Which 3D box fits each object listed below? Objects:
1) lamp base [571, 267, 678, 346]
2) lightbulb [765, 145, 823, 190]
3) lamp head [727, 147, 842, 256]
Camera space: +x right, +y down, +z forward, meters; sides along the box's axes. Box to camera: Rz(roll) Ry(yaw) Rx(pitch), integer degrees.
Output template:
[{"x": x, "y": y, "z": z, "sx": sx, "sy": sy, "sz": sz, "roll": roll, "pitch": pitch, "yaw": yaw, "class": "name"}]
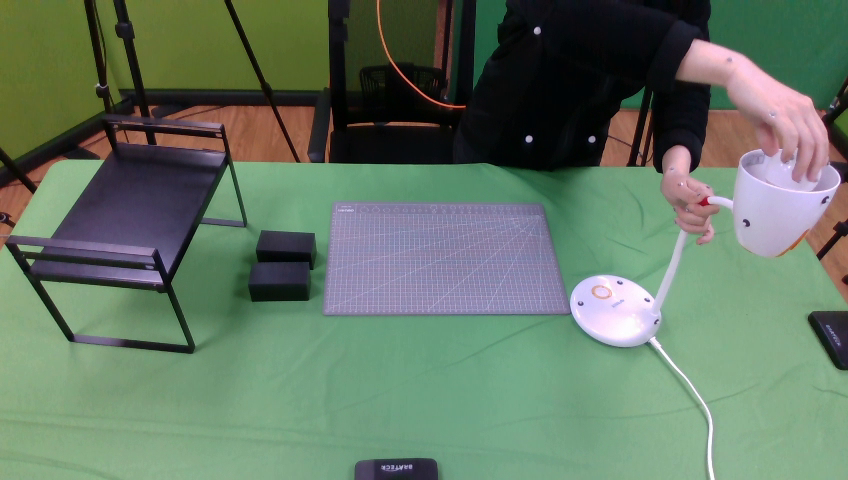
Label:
[{"x": 0.359, "y": 0.077, "z": 1.038, "sx": 0.160, "sy": 0.181, "sz": 0.178, "roll": -34, "pitch": 59, "yaw": -31, "class": "lamp base"}, {"x": 0.443, "y": -0.063, "z": 0.742, "sx": 0.059, "sy": 0.108, "sz": 0.059, "roll": 4, "pitch": 30, "yaw": -2, "class": "lightbulb"}, {"x": 0.436, "y": -0.043, "z": 0.759, "sx": 0.112, "sy": 0.123, "sz": 0.111, "roll": 1, "pitch": 40, "yaw": -1, "class": "lamp head"}]
